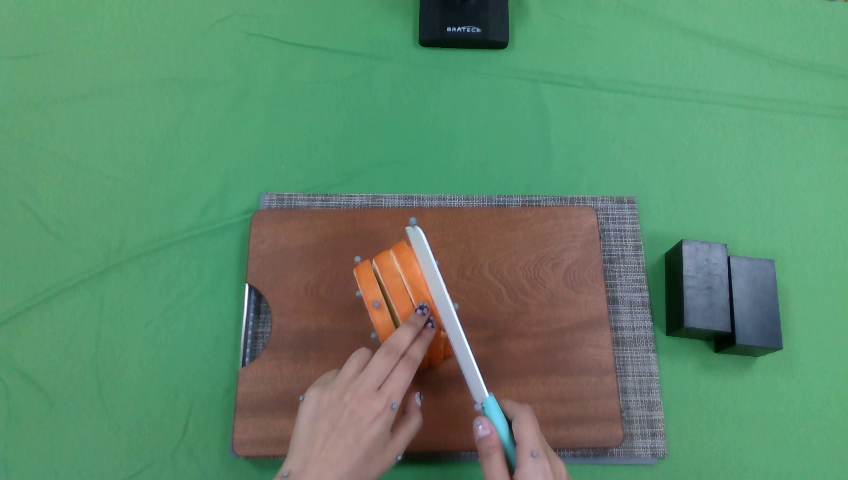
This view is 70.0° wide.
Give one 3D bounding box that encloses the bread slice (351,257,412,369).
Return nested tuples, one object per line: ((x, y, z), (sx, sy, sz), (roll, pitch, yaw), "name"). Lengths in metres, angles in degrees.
((-0.043, 0.071, 0.596), (0.019, 0.132, 0.104), (-23, 71, -3), "bread slice")

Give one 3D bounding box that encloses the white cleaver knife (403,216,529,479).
((0.041, 0.113, 0.504), (0.021, 0.066, 0.286), (-21, 92, -10), "white cleaver knife")

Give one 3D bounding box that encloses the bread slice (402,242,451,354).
((0.005, 0.056, 0.600), (0.018, 0.135, 0.106), (-22, 76, -9), "bread slice")
